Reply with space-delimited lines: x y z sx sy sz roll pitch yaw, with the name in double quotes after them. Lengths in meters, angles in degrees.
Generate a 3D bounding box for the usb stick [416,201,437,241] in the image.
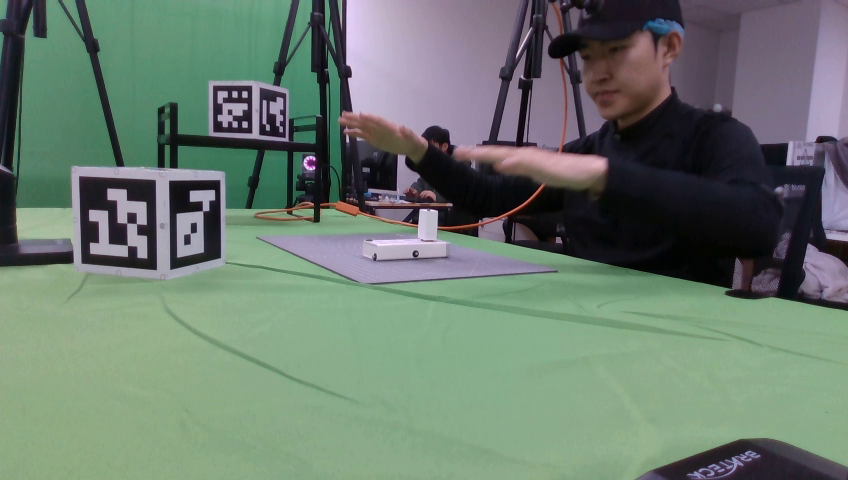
0.003 -0.029 0.902 0.027 0.059 0.021 2 15 30 "usb stick"

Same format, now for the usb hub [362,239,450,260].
-0.026 0.013 0.894 0.126 0.025 0.049 -1 7 -31 "usb hub"
